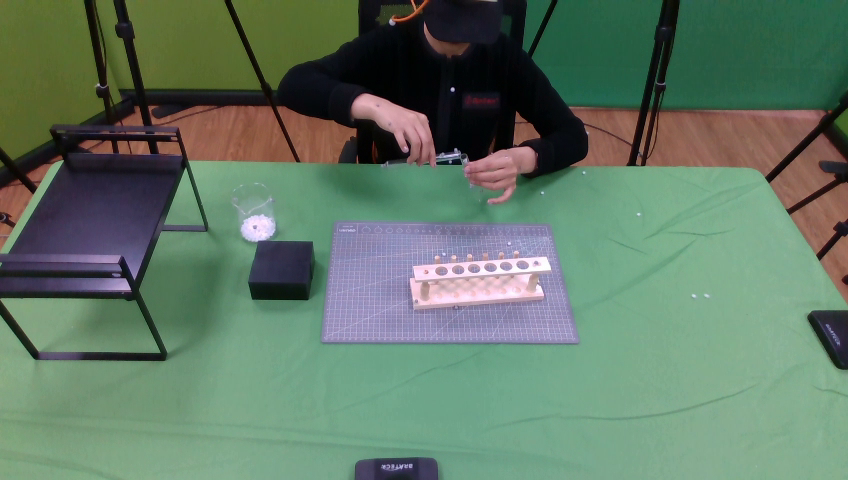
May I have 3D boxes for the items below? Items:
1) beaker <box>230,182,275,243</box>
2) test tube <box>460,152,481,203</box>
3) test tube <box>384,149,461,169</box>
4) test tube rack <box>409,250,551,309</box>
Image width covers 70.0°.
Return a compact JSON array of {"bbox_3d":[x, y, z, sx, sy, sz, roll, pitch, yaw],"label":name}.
[{"bbox_3d":[-0.328,-0.049,1.166,0.074,0.101,0.083,2,47,-2],"label":"beaker"},{"bbox_3d":[0.095,-0.123,1.222,0.017,0.151,0.017,-9,55,13],"label":"test tube"},{"bbox_3d":[-0.002,-0.151,1.135,0.150,0.017,0.017,-11,48,-15],"label":"test tube"},{"bbox_3d":[0.098,0.065,1.096,0.243,0.085,0.066,-4,47,-8],"label":"test tube rack"}]
